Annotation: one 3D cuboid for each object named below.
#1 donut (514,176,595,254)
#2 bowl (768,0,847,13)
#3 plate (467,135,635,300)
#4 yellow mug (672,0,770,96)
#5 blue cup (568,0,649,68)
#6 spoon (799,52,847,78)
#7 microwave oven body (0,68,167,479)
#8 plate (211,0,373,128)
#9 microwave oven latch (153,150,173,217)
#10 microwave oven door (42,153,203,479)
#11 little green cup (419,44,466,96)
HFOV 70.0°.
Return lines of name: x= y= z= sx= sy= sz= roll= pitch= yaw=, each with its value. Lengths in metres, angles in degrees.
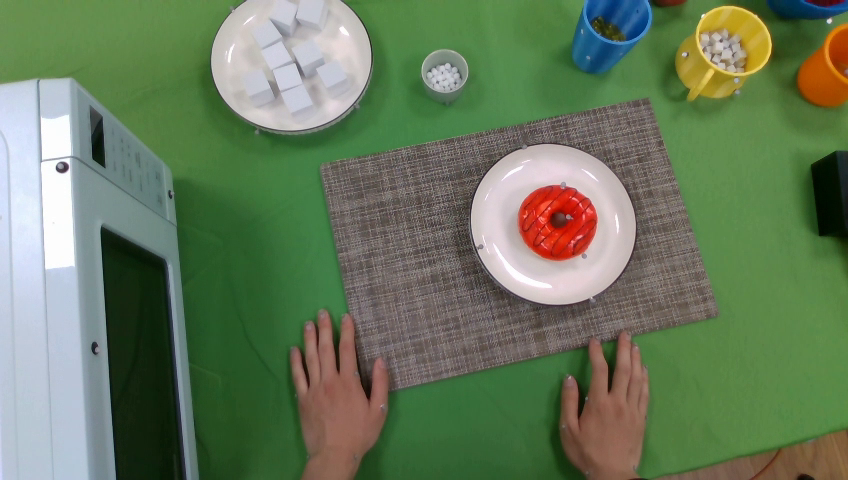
donut: x=0.160 y=-0.030 z=0.746 sx=0.099 sy=0.048 sz=0.098 roll=0 pitch=79 yaw=0
bowl: x=0.517 y=-0.367 z=0.823 sx=0.151 sy=0.077 sz=0.150 roll=0 pitch=79 yaw=-1
plate: x=0.155 y=-0.027 z=0.756 sx=0.209 sy=0.038 sz=0.208 roll=0 pitch=78 yaw=-1
yellow mug: x=0.382 y=-0.244 z=0.799 sx=0.100 sy=0.064 sz=0.130 roll=35 pitch=80 yaw=5
blue cup: x=0.229 y=-0.272 z=0.782 sx=0.093 sy=0.100 sz=0.092 roll=1 pitch=79 yaw=-3
spoon: x=0.575 y=-0.217 z=0.758 sx=0.022 sy=0.192 sz=0.041 roll=44 pitch=77 yaw=-37
microwave oven body: x=-0.437 y=0.106 z=0.595 sx=0.326 sy=0.261 sz=0.439 roll=-9 pitch=79 yaw=-4
plate: x=-0.170 y=-0.240 z=0.794 sx=0.208 sy=0.039 sz=0.206 roll=0 pitch=78 yaw=-2
microwave oven latch: x=-0.323 y=-0.067 z=0.734 sx=0.030 sy=0.029 sz=0.079 roll=-7 pitch=79 yaw=-4
microwave oven door: x=-0.285 y=0.123 z=0.591 sx=0.039 sy=0.244 sz=0.354 roll=-10 pitch=78 yaw=-3
little green cup: x=0.024 y=-0.221 z=0.797 sx=0.061 sy=0.039 sz=0.061 roll=0 pitch=78 yaw=-1
